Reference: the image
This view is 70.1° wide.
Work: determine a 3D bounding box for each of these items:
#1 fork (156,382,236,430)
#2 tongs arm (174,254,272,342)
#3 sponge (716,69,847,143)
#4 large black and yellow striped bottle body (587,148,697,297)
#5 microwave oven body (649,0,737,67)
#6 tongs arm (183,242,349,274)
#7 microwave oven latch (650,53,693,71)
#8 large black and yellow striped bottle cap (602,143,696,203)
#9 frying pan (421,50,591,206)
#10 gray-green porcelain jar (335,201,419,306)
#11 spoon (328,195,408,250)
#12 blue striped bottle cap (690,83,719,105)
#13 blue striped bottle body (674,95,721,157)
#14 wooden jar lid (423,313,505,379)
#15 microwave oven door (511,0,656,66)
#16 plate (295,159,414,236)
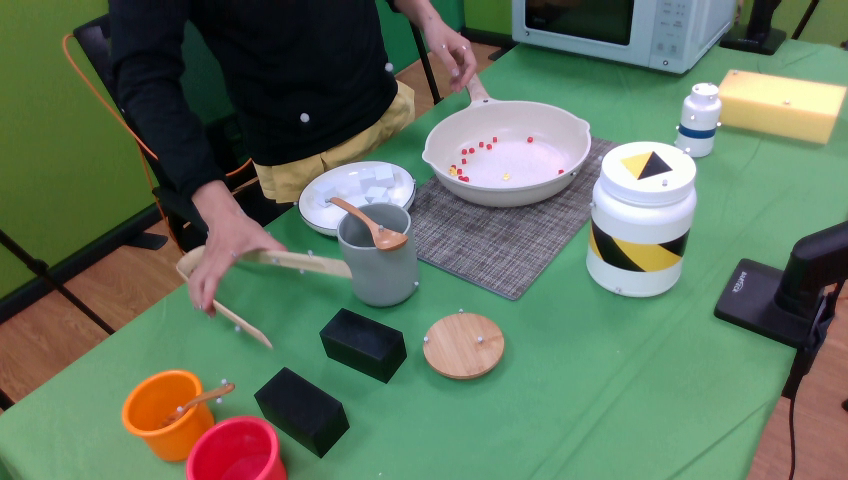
[{"bbox_3d":[-0.262,0.189,0.690,0.018,0.206,0.028,49,43,-7],"label":"fork"},{"bbox_3d":[-0.288,0.073,0.835,0.028,0.028,0.384,-44,32,-20],"label":"tongs arm"},{"bbox_3d":[0.663,-0.256,1.142,0.205,0.061,0.118,19,47,28],"label":"sponge"},{"bbox_3d":[0.298,-0.026,0.835,0.131,0.185,0.130,-4,41,4],"label":"large black and yellow striped bottle body"},{"bbox_3d":[0.475,-0.602,1.411,0.438,0.261,0.327,23,50,32],"label":"microwave oven body"},{"bbox_3d":[-0.243,0.031,0.869,0.381,0.027,0.051,6,44,46],"label":"tongs arm"},{"bbox_3d":[0.531,-0.386,1.301,0.078,0.029,0.030,26,51,33],"label":"microwave oven latch"},{"bbox_3d":[0.289,-0.088,0.779,0.115,0.019,0.114,-5,40,4],"label":"large black and yellow striped bottle cap"},{"bbox_3d":[0.127,-0.233,1.155,0.307,0.103,0.484,-11,49,-5],"label":"frying pan"},{"bbox_3d":[-0.064,0.024,0.872,0.106,0.127,0.105,-4,41,4],"label":"gray-green porcelain jar"},{"bbox_3d":[-0.083,-0.029,0.829,0.042,0.022,0.192,-29,41,-23],"label":"spoon"},{"bbox_3d":[0.481,-0.251,1.038,0.044,0.021,0.044,-5,40,5],"label":"blue striped bottle cap"},{"bbox_3d":[0.486,-0.213,1.071,0.063,0.121,0.063,-4,41,4],"label":"blue striped bottle body"},{"bbox_3d":[0.053,0.142,0.800,0.108,0.021,0.108,-5,39,4],"label":"wooden jar lid"},{"bbox_3d":[0.351,-0.540,1.349,0.353,0.245,0.039,24,50,31],"label":"microwave oven door"},{"bbox_3d":[-0.118,-0.070,1.055,0.207,0.039,0.206,-5,40,5],"label":"plate"}]
